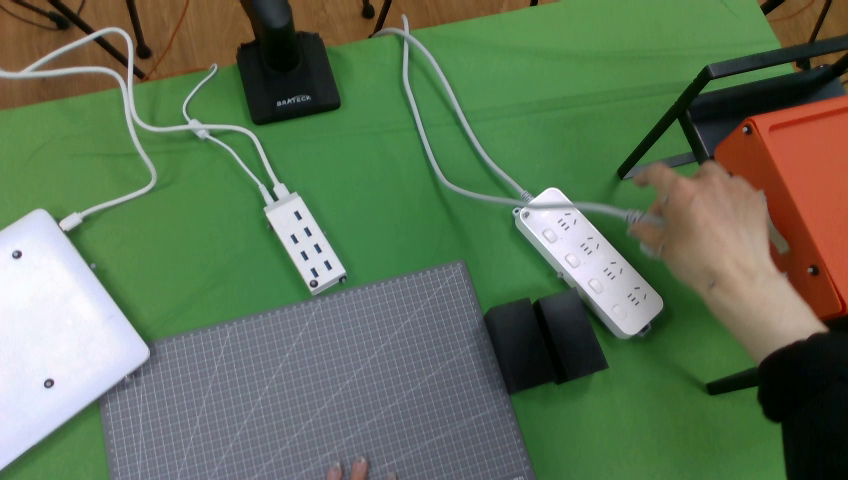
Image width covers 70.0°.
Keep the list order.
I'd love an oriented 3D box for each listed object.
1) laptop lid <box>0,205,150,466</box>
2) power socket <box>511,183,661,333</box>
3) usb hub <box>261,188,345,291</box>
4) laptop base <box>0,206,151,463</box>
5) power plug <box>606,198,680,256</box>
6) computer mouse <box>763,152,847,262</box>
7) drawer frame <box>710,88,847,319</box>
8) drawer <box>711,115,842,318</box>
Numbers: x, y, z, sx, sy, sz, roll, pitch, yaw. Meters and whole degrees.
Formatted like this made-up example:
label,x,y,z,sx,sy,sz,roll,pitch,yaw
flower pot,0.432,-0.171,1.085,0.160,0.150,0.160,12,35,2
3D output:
label,x,y,z,sx,sy,sz,roll,pitch,yaw
laptop lid,-0.515,0.145,0.660,0.356,0.013,0.241,-37,81,-15
power socket,0.206,0.021,0.774,0.072,0.033,0.225,-38,78,-16
usb hub,-0.151,-0.002,0.751,0.049,0.025,0.124,-30,77,-13
laptop base,-0.517,0.147,0.672,0.354,0.023,0.235,-39,82,-15
power plug,0.215,-0.015,0.591,0.035,0.053,0.072,-32,49,-13
computer mouse,0.398,-0.037,0.612,0.063,0.041,0.116,-19,73,-7
drawer frame,0.431,-0.048,0.602,0.214,0.083,0.200,-15,74,-11
drawer,0.427,-0.046,0.602,0.212,0.073,0.193,-14,73,-11
